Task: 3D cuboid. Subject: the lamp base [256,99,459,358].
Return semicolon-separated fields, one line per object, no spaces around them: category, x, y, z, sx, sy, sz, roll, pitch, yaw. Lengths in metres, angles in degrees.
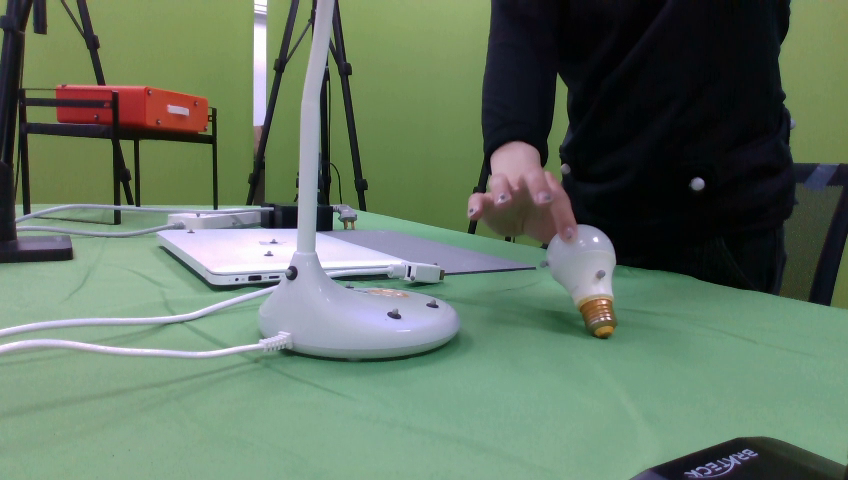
lamp base;-0.055;-0.013;0.463;0.160;0.180;0.180;6;11;27

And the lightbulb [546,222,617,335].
lightbulb;0.142;0.033;0.527;0.059;0.107;0.059;-6;-35;-4

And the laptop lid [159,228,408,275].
laptop lid;-0.201;0.007;0.806;0.243;0.013;0.355;-1;8;-31

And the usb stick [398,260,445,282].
usb stick;-0.001;0.036;0.696;0.027;0.021;0.059;7;-1;43

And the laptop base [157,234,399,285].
laptop base;-0.204;0.019;0.806;0.237;0.023;0.352;0;7;-33

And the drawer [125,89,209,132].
drawer;-0.595;-0.268;1.263;0.211;0.073;0.195;3;8;15

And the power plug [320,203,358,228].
power plug;-0.170;-0.046;1.209;0.073;0.052;0.035;-6;-17;-9

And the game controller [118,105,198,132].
game controller;-0.554;-0.252;1.254;0.097;0.051;0.155;6;11;19

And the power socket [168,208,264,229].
power socket;-0.381;-0.038;1.128;0.072;0.032;0.227;4;8;16

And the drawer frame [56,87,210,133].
drawer frame;-0.598;-0.269;1.261;0.213;0.082;0.202;4;8;14
